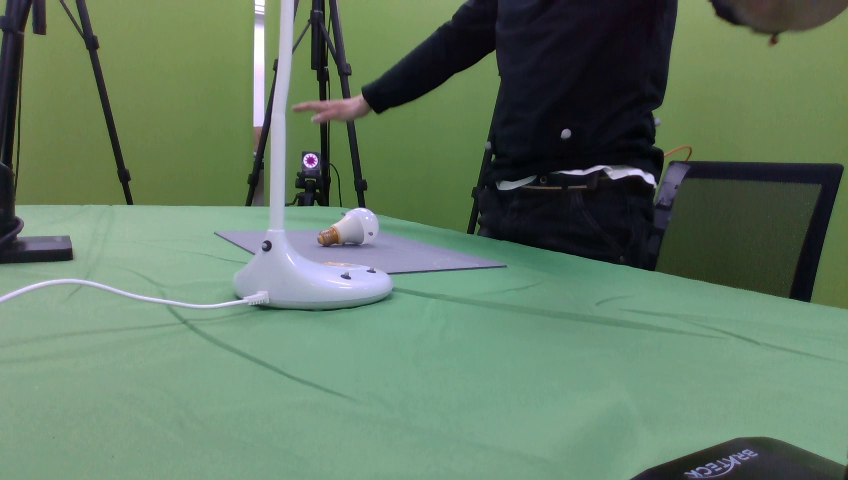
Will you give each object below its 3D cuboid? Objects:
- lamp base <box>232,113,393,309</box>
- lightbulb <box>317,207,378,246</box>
[{"bbox_3d":[-0.113,-0.032,0.595,0.160,0.180,0.179,4,10,17],"label":"lamp base"},{"bbox_3d":[-0.123,-0.016,0.968,0.108,0.059,0.059,-21,20,-33],"label":"lightbulb"}]
